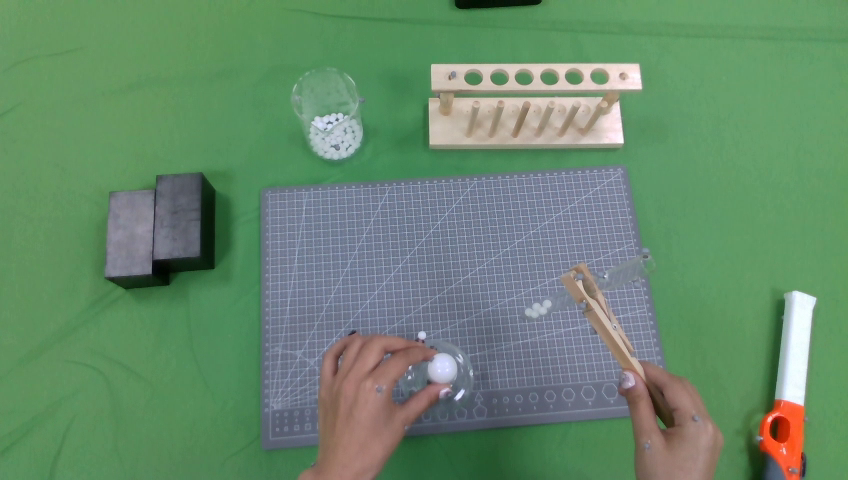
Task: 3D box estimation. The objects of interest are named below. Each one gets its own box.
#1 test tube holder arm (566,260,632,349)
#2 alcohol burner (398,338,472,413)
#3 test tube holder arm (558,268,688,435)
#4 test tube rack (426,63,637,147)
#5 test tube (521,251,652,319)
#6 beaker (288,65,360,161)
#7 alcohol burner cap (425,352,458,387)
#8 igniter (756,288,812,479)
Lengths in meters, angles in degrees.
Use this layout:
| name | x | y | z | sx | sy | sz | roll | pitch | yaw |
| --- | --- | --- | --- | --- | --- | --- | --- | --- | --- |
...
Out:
| name | x | y | z | sx | sy | sz | roll | pitch | yaw |
| --- | --- | --- | --- | --- | --- | --- | --- | --- | --- |
| test tube holder arm | 0.149 | 0.057 | 0.515 | 0.010 | 0.015 | 0.088 | -32 | 93 | -38 |
| alcohol burner | 0.012 | 0.136 | 0.619 | 0.078 | 0.119 | 0.077 | 1 | 72 | -3 |
| test tube holder arm | 0.171 | 0.097 | 0.516 | 0.013 | 0.015 | 0.179 | -41 | 98 | -37 |
| test tube rack | 0.124 | -0.161 | 0.733 | 0.242 | 0.085 | 0.066 | -1 | 73 | -2 |
| test tube | 0.131 | 0.042 | 0.514 | 0.017 | 0.150 | 0.017 | 13 | 62 | -26 |
| beaker | -0.113 | -0.141 | 0.710 | 0.074 | 0.101 | 0.083 | -1 | 73 | -2 |
| alcohol burner cap | 0.016 | 0.121 | 0.572 | 0.034 | 0.048 | 0.033 | -1 | 75 | 3 |
| igniter | 0.396 | 0.186 | 0.666 | 0.057 | 0.025 | 0.275 | 19 | 73 | -6 |
